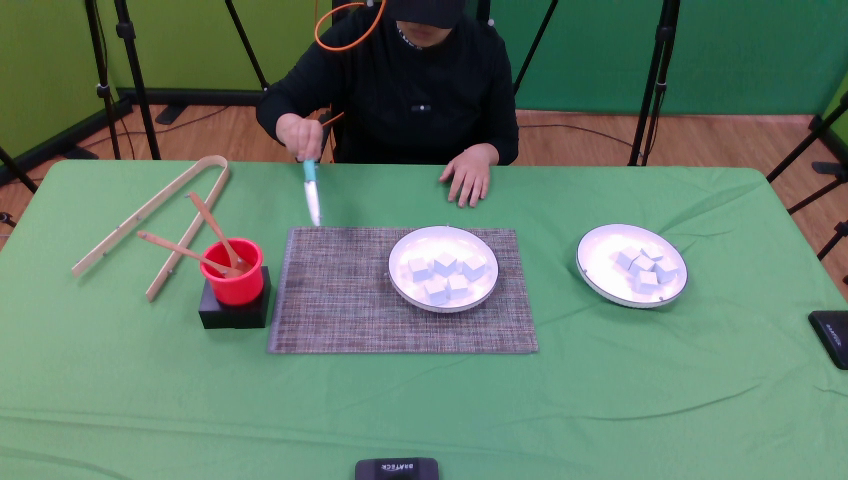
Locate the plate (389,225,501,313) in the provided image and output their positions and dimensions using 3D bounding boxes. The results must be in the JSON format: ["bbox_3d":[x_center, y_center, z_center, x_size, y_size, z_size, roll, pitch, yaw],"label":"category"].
[{"bbox_3d":[0.038,0.057,1.129,0.208,0.039,0.206,2,46,-2],"label":"plate"}]

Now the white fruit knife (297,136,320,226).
[{"bbox_3d":[-0.210,-0.112,1.118,0.027,0.016,0.206,-24,61,19],"label":"white fruit knife"}]

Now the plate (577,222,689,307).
[{"bbox_3d":[0.396,0.050,1.165,0.209,0.038,0.208,2,47,-2],"label":"plate"}]

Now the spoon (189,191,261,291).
[{"bbox_3d":[-0.333,0.001,1.012,0.041,0.194,0.021,-34,15,-25],"label":"spoon"}]

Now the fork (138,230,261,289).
[{"bbox_3d":[-0.359,0.032,0.981,0.208,0.018,0.028,31,60,-30],"label":"fork"}]

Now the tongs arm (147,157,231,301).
[{"bbox_3d":[-0.454,-0.034,1.194,0.028,0.028,0.385,7,46,6],"label":"tongs arm"}]

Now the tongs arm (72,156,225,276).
[{"bbox_3d":[-0.531,-0.058,1.205,0.050,0.026,0.383,19,47,12],"label":"tongs arm"}]
